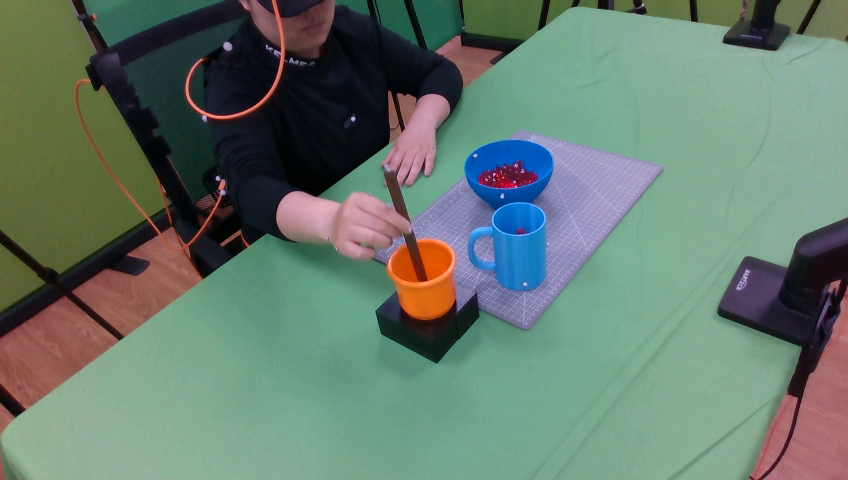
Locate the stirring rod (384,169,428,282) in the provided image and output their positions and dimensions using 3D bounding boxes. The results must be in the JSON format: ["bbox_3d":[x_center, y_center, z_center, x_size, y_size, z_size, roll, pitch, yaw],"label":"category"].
[{"bbox_3d":[-0.020,-0.012,0.736,0.014,0.177,0.006,-4,40,15],"label":"stirring rod"}]

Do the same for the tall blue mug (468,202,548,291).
[{"bbox_3d":[0.125,0.015,0.868,0.107,0.108,0.077,-21,42,-14],"label":"tall blue mug"}]

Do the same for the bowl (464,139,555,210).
[{"bbox_3d":[0.146,-0.100,1.025,0.151,0.077,0.150,-5,40,5],"label":"bowl"}]
